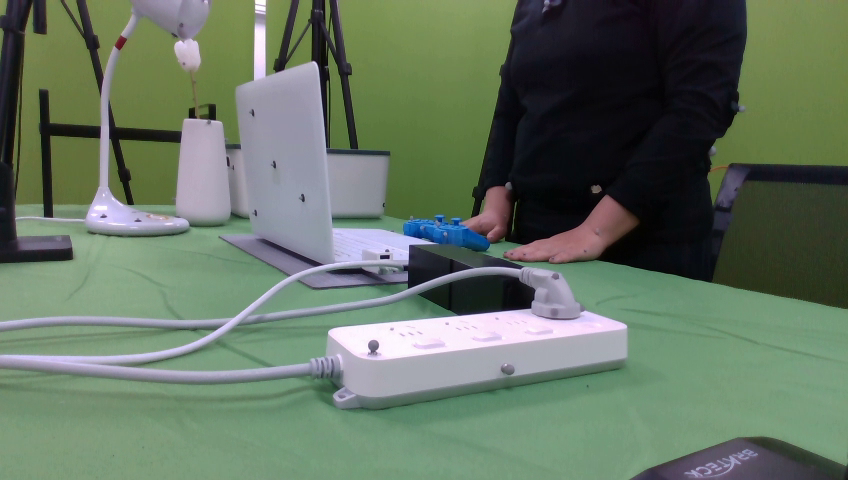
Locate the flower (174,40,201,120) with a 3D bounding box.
[{"bbox_3d":[-0.430,-0.211,1.166,0.044,0.361,0.038,-10,-5,-24],"label":"flower"}]

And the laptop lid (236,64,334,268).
[{"bbox_3d":[-0.202,-0.103,0.828,0.013,0.241,0.355,-9,14,-30],"label":"laptop lid"}]

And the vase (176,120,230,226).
[{"bbox_3d":[-0.424,-0.128,1.159,0.098,0.200,0.098,2,9,0],"label":"vase"}]

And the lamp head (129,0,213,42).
[{"bbox_3d":[-0.423,-0.394,0.980,0.123,0.112,0.112,20,7,-3],"label":"lamp head"}]

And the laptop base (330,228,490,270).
[{"bbox_3d":[-0.096,0.011,0.912,0.237,0.023,0.352,3,6,-32],"label":"laptop base"}]

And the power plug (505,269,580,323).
[{"bbox_3d":[0.092,0.051,0.470,0.035,0.052,0.072,0,6,-16],"label":"power plug"}]

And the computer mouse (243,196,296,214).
[{"bbox_3d":[-0.362,-0.082,1.416,0.117,0.041,0.063,-3,10,5],"label":"computer mouse"}]

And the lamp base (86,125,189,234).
[{"bbox_3d":[-0.497,-0.105,1.027,0.179,0.180,0.160,1,7,3],"label":"lamp base"}]

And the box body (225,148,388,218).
[{"bbox_3d":[-0.298,-0.143,1.474,0.366,0.160,0.253,-1,9,-30],"label":"box body"}]

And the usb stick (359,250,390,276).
[{"bbox_3d":[-0.062,0.026,0.709,0.021,0.027,0.059,-2,3,-29],"label":"usb stick"}]

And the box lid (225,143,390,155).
[{"bbox_3d":[-0.296,-0.217,1.463,0.373,0.015,0.262,-2,8,-29],"label":"box lid"}]

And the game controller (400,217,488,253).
[{"bbox_3d":[0.029,-0.011,1.027,0.097,0.051,0.154,-3,9,-34],"label":"game controller"}]

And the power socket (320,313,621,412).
[{"bbox_3d":[0.038,0.075,0.410,0.228,0.032,0.072,-2,8,-29],"label":"power socket"}]
